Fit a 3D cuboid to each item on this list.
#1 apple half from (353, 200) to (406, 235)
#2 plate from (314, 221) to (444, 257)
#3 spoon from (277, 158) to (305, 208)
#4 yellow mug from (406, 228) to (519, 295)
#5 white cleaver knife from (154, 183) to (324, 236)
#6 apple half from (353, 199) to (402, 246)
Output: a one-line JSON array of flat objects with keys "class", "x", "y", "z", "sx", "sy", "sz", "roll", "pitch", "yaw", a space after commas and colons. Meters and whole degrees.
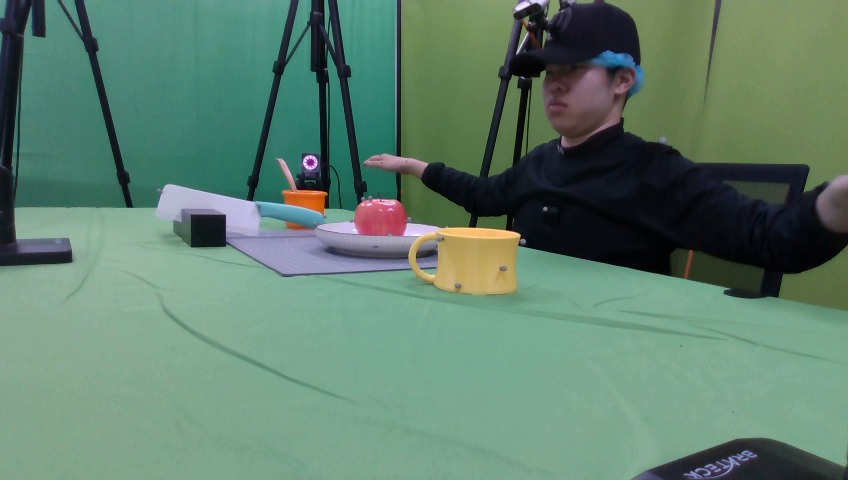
[{"class": "apple half", "x": -0.064, "y": -0.023, "z": 0.909, "sx": 0.081, "sy": 0.074, "sz": 0.053, "roll": 3, "pitch": 11, "yaw": -17}, {"class": "plate", "x": -0.067, "y": -0.002, "z": 0.948, "sx": 0.209, "sy": 0.038, "sz": 0.209, "roll": 3, "pitch": 7, "yaw": 0}, {"class": "spoon", "x": -0.272, "y": -0.103, "z": 1.260, "sx": 0.042, "sy": 0.193, "sz": 0.021, "roll": -5, "pitch": -34, "yaw": -33}, {"class": "yellow mug", "x": 0.044, "y": 0.022, "z": 0.707, "sx": 0.131, "sy": 0.064, "sz": 0.100, "roll": 2, "pitch": 7, "yaw": 5}, {"class": "white cleaver knife", "x": -0.310, "y": -0.042, "z": 1.049, "sx": 0.288, "sy": 0.066, "sz": 0.021, "roll": 10, "pitch": 4, "yaw": -28}, {"class": "apple half", "x": -0.076, "y": -0.029, "z": 0.946, "sx": 0.081, "sy": 0.081, "sz": 0.032, "roll": 0, "pitch": 12, "yaw": -18}]
